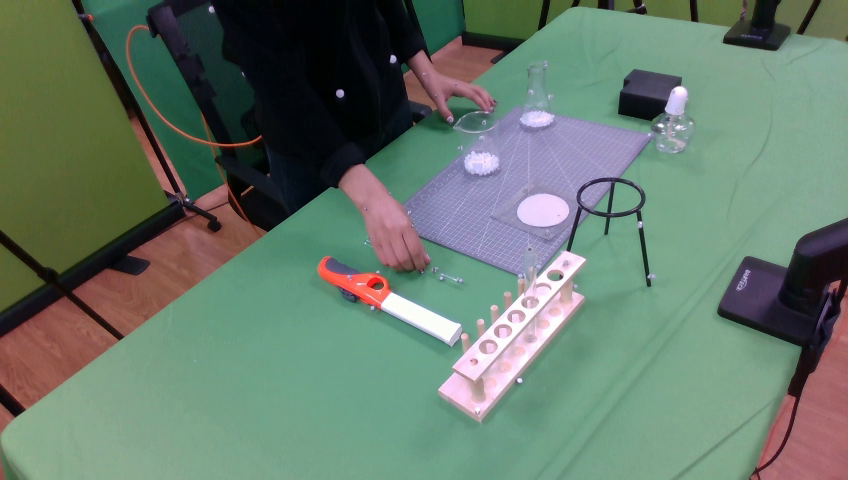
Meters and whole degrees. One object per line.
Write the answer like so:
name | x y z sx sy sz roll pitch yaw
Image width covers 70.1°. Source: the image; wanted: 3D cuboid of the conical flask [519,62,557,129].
conical flask | 0.225 -0.287 1.198 0.075 0.122 0.075 -6 40 5

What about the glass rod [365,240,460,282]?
glass rod | -0.022 0.032 0.961 0.198 0.008 0.008 21 49 35

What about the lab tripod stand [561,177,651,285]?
lab tripod stand | 0.263 -0.014 0.864 0.148 0.132 0.147 -7 38 6

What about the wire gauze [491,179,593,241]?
wire gauze | 0.198 -0.051 1.014 0.125 0.011 0.120 -38 48 -27

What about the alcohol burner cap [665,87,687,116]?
alcohol burner cap | 0.445 -0.244 1.060 0.034 0.048 0.033 -2 45 3

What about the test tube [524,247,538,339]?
test tube | 0.133 0.070 0.749 0.017 0.151 0.017 -5 38 4

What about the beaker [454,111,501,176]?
beaker | 0.101 -0.174 1.106 0.084 0.101 0.073 -5 40 6

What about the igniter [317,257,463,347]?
igniter | -0.061 0.085 0.891 0.274 0.025 0.057 23 59 33

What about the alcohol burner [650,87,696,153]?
alcohol burner | 0.448 -0.217 1.084 0.078 0.119 0.077 -6 38 5

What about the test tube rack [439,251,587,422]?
test tube rack | 0.118 0.111 0.780 0.066 0.085 0.243 26 51 34
